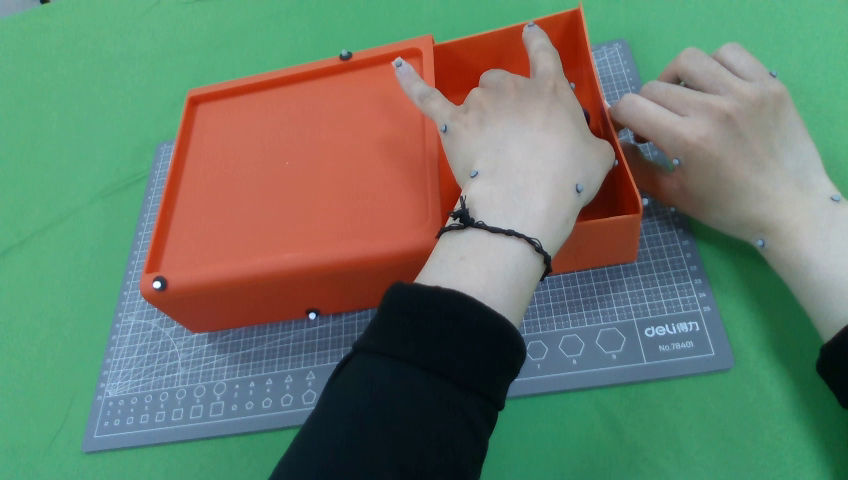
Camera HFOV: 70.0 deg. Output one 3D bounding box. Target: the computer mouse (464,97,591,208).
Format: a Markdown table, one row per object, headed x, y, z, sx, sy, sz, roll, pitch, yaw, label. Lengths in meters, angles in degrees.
| x | y | z | sx | sy | sz | roll | pitch | yaw | label |
| --- | --- | --- | --- | --- | --- | --- | --- | --- | --- |
| 0.075 | -0.070 | 0.430 | 0.062 | 0.041 | 0.116 | 12 | 45 | 25 | computer mouse |

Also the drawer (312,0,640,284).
| x | y | z | sx | sy | sz | roll | pitch | yaw | label |
| --- | --- | --- | --- | --- | --- | --- | --- | --- | --- |
| 0.031 | -0.067 | 0.445 | 0.211 | 0.074 | 0.192 | -10 | 58 | 10 | drawer |

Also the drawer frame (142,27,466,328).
| x | y | z | sx | sy | sz | roll | pitch | yaw | label |
| --- | --- | --- | --- | --- | --- | --- | --- | --- | --- |
| -0.081 | -0.047 | 0.464 | 0.213 | 0.083 | 0.199 | -10 | 58 | 11 | drawer frame |
